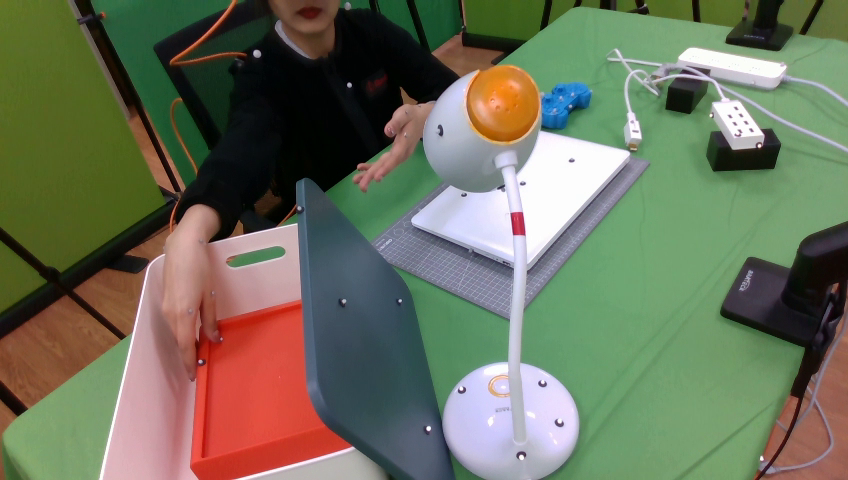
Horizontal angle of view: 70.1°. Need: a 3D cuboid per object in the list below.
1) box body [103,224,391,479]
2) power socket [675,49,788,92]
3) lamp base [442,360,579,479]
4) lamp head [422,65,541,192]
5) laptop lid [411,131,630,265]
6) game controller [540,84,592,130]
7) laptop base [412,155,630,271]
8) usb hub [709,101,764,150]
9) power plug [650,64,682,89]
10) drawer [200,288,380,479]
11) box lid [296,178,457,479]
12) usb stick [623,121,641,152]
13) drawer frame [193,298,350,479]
[{"bbox_3d":[-0.190,0.161,0.723,0.255,0.161,0.361,-13,40,-5],"label":"box body"},{"bbox_3d":[0.647,-0.363,1.284,0.225,0.033,0.072,26,53,35],"label":"power socket"},{"bbox_3d":[0.094,0.158,0.657,0.161,0.181,0.178,-13,42,-5],"label":"lamp base"},{"bbox_3d":[0.060,-0.106,0.560,0.113,0.112,0.122,-17,0,-8],"label":"lamp head"},{"bbox_3d":[0.172,-0.094,1.050,0.239,0.013,0.358,23,49,36],"label":"laptop lid"},{"bbox_3d":[0.277,-0.282,1.251,0.096,0.052,0.155,27,52,31],"label":"game controller"},{"bbox_3d":[0.176,-0.084,1.056,0.233,0.023,0.355,20,48,36],"label":"laptop base"},{"bbox_3d":[0.534,-0.199,1.040,0.049,0.025,0.124,-5,39,8],"label":"usb hub"},{"bbox_3d":[0.498,-0.341,1.263,0.035,0.052,0.072,20,10,-7],"label":"power plug"},{"bbox_3d":[-0.172,0.177,0.760,0.195,0.073,0.210,-15,42,-7],"label":"drawer"},{"bbox_3d":[-0.059,0.103,0.702,0.015,0.265,0.369,-30,39,11],"label":"box lid"},{"bbox_3d":[0.389,-0.191,1.128,0.021,0.027,0.059,8,62,-8],"label":"usb stick"},{"bbox_3d":[-0.172,0.176,0.755,0.202,0.083,0.212,-14,41,-7],"label":"drawer frame"}]
